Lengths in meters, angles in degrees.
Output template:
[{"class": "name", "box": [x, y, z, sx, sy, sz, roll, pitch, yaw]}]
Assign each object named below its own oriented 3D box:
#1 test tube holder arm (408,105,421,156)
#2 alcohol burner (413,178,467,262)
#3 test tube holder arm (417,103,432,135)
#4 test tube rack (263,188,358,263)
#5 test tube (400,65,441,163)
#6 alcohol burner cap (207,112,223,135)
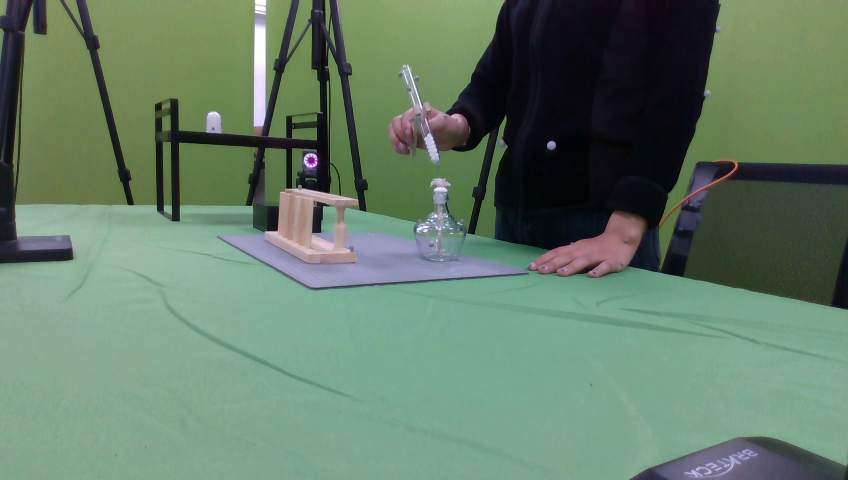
[{"class": "test tube holder arm", "box": [-0.016, -0.165, 0.926, 0.013, 0.015, 0.178, -13, -10, -8]}, {"class": "alcohol burner", "box": [0.023, -0.029, 0.864, 0.078, 0.119, 0.078, 1, 6, 0]}, {"class": "test tube holder arm", "box": [-0.004, -0.175, 0.883, 0.010, 0.015, 0.087, -12, -10, -16]}, {"class": "test tube rack", "box": [-0.174, -0.028, 0.890, 0.067, 0.085, 0.241, 0, 8, -28]}, {"class": "test tube", "box": [-0.005, -0.180, 0.860, 0.017, 0.150, 0.017, -18, -9, -3]}, {"class": "alcohol burner cap", "box": [-0.440, -0.245, 1.271, 0.034, 0.048, 0.034, 1, 7, 0]}]
